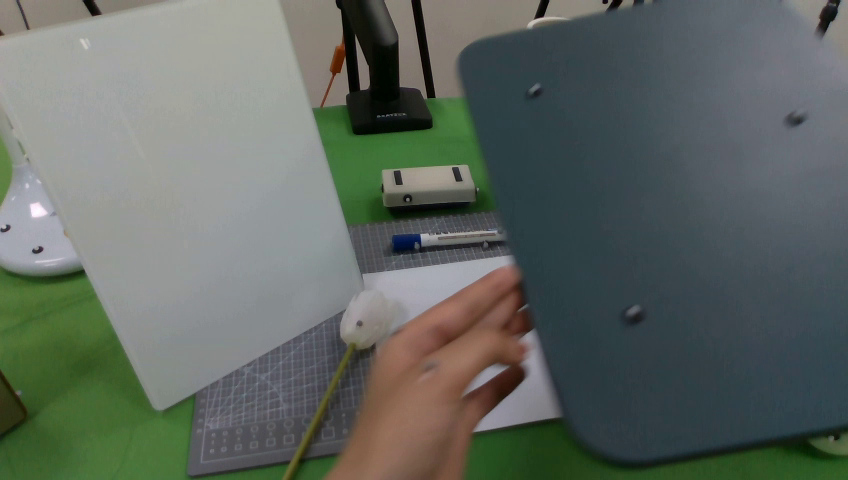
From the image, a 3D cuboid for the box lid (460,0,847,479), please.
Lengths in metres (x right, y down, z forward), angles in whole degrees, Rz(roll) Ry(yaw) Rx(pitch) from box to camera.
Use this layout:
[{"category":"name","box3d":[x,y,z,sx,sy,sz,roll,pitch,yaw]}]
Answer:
[{"category":"box lid","box3d":[0.172,-0.047,0.387,0.263,0.015,0.367,-12,50,5]}]

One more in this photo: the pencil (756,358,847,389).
[{"category":"pencil","box3d":[0.390,0.131,0.523,0.193,0.012,0.012,13,40,13]}]

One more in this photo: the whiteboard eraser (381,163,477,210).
[{"category":"whiteboard eraser","box3d":[0.005,-0.064,0.742,0.113,0.042,0.055,-5,38,-7]}]

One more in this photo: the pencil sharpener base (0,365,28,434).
[{"category":"pencil sharpener base","box3d":[-0.373,0.106,0.467,0.076,0.108,0.061,23,44,25]}]

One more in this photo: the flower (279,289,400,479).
[{"category":"flower","box3d":[-0.100,0.172,0.465,0.044,0.038,0.359,18,46,10]}]

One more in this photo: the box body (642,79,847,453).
[{"category":"box body","box3d":[0.400,0.000,0.573,0.254,0.162,0.360,-6,39,-7]}]

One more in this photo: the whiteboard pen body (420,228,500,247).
[{"category":"whiteboard pen body","box3d":[0.040,-0.003,0.682,0.141,0.017,0.017,-5,39,-6]}]

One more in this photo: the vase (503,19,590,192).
[{"category":"vase","box3d":[0.152,-0.158,0.736,0.098,0.202,0.097,1,39,-1]}]

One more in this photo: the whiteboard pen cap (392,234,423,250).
[{"category":"whiteboard pen cap","box3d":[-0.018,0.002,0.674,0.033,0.018,0.018,-3,39,-8]}]

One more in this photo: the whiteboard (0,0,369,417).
[{"category":"whiteboard","box3d":[-0.209,-0.046,0.547,0.217,0.307,0.142,-28,27,-30]}]

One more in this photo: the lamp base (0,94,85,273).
[{"category":"lamp base","box3d":[-0.409,-0.082,0.642,0.178,0.182,0.160,19,42,25]}]
